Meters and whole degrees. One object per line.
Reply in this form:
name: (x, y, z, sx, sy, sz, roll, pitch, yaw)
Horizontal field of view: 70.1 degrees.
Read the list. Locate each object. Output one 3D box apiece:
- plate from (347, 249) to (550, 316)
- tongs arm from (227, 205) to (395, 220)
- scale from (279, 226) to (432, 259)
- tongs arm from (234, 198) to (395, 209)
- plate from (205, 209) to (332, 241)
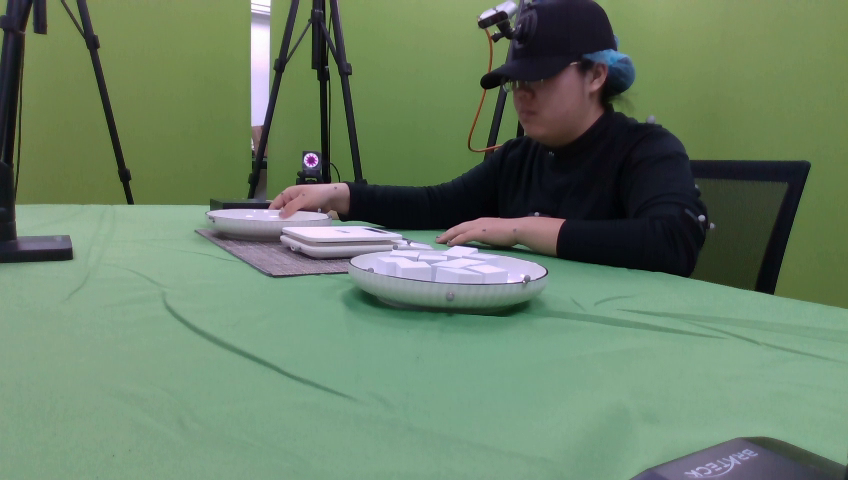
plate: (0.025, 0.042, 0.627, 0.209, 0.038, 0.209, 2, 7, 0)
tongs arm: (-0.247, -0.063, 1.381, 0.389, 0.028, 0.028, 0, 4, -21)
scale: (-0.100, 0.001, 0.899, 0.202, 0.031, 0.148, -1, 9, -31)
tongs arm: (-0.263, -0.076, 1.460, 0.386, 0.026, 0.050, 3, 7, -8)
plate: (-0.262, -0.026, 1.030, 0.208, 0.039, 0.207, 3, 7, 0)
